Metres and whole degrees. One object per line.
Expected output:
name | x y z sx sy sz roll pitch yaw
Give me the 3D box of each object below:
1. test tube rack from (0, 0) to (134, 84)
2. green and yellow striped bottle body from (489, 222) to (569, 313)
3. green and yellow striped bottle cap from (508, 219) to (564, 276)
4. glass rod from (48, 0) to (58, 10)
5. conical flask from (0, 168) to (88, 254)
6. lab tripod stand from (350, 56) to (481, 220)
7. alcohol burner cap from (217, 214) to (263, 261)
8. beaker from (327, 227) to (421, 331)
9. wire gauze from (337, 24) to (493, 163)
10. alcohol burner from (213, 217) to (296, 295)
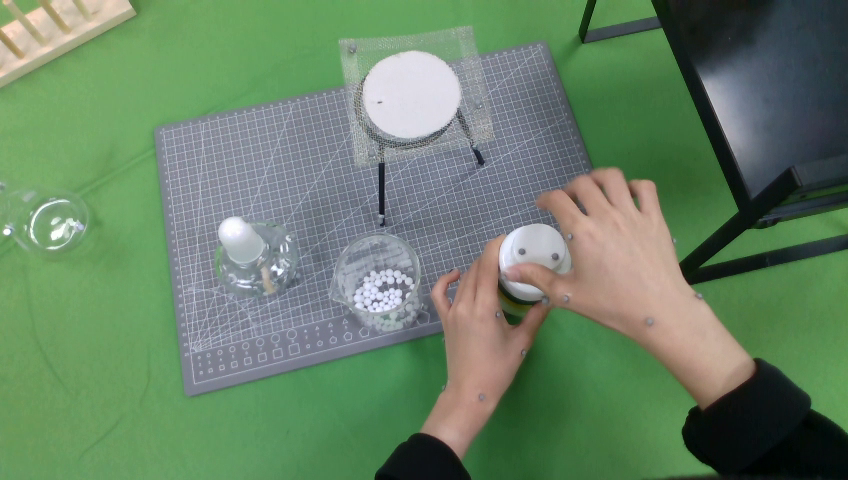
test tube rack | -0.465 -0.245 0.672 0.242 0.086 0.066 -33 74 -9
green and yellow striped bottle body | 0.094 0.024 0.549 0.063 0.120 0.063 -1 72 2
green and yellow striped bottle cap | 0.092 0.005 0.497 0.045 0.020 0.045 -1 72 3
glass rod | -0.428 -0.310 0.623 0.008 0.201 0.008 1 68 -2
conical flask | -0.391 -0.038 0.582 0.075 0.122 0.075 0 71 2
lab tripod stand | -0.013 -0.104 0.586 0.148 0.132 0.147 0 70 1
alcohol burner cap | -0.164 -0.005 0.529 0.034 0.048 0.033 0 64 0
beaker | -0.041 0.042 0.557 0.084 0.101 0.073 -25 72 -6
wire gauze | -0.009 -0.131 0.524 0.121 0.011 0.124 -8 72 -3
alcohol burner | -0.162 0.009 0.563 0.078 0.120 0.077 0 69 0
